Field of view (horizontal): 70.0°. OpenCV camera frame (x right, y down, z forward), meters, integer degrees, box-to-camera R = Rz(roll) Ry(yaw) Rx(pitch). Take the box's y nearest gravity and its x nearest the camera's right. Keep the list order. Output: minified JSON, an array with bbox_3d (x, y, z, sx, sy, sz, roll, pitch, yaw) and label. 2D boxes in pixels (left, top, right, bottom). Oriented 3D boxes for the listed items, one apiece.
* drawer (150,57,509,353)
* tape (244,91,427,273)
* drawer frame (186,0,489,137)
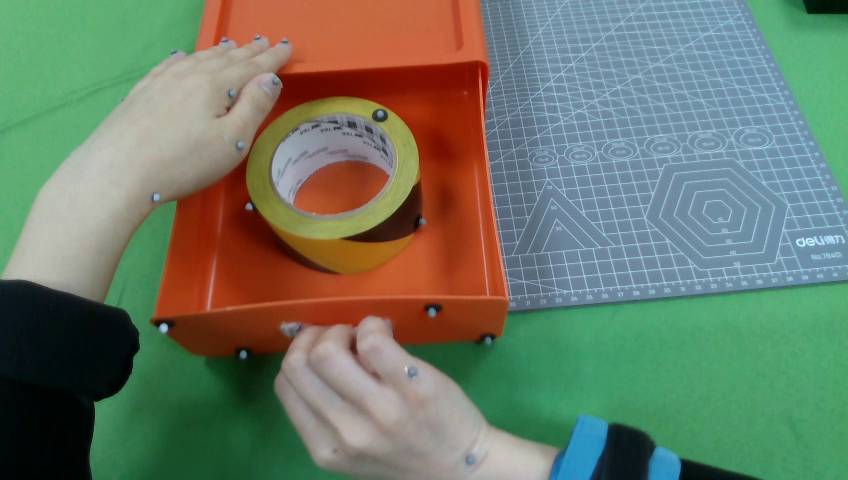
[{"bbox_3d":[-0.054,-0.037,0.398,0.194,0.074,0.210,-4,61,1],"label":"drawer"},{"bbox_3d":[-0.056,-0.039,0.406,0.117,0.053,0.116,-1,63,2],"label":"tape"},{"bbox_3d":[-0.061,-0.182,0.473,0.202,0.083,0.211,-4,60,1],"label":"drawer frame"}]
